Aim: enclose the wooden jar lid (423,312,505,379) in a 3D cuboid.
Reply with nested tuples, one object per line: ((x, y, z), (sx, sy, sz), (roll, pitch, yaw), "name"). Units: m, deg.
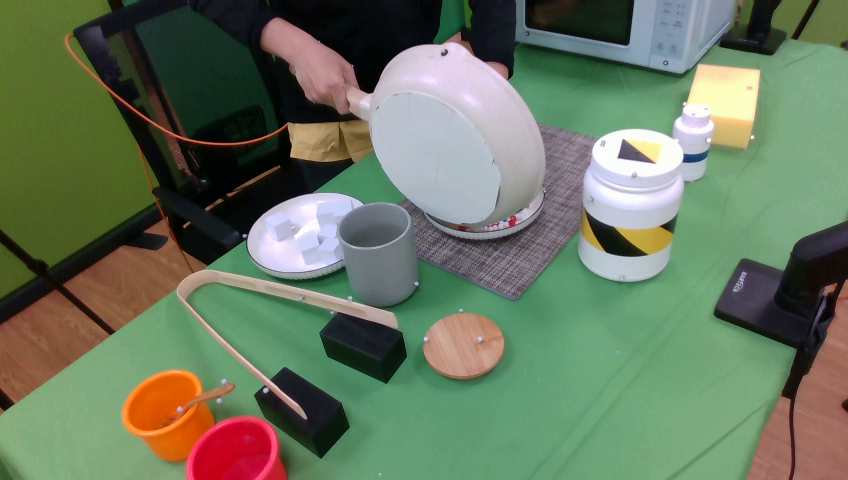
((0.053, 0.142, 0.800), (0.108, 0.021, 0.108), (-5, 39, 4), "wooden jar lid")

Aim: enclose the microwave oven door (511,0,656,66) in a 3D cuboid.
((0.351, -0.540, 1.349), (0.353, 0.245, 0.039), (24, 50, 31), "microwave oven door")

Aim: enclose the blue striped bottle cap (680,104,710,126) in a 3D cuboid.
((0.443, -0.205, 0.989), (0.044, 0.021, 0.044), (-1, 41, 2), "blue striped bottle cap")

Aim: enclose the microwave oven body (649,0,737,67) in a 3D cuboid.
((0.475, -0.602, 1.411), (0.438, 0.261, 0.327), (23, 50, 32), "microwave oven body")

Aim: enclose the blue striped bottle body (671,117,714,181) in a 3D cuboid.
((0.449, -0.165, 1.022), (0.063, 0.121, 0.063), (-5, 41, 4), "blue striped bottle body")

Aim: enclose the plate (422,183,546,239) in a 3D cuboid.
((0.100, -0.067, 1.018), (0.209, 0.038, 0.208), (-4, 41, 4), "plate")

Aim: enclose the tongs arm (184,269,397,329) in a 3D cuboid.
((-0.202, 0.084, 0.848), (0.382, 0.027, 0.051), (11, 44, 35), "tongs arm")

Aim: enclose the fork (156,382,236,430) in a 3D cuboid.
((-0.262, 0.189, 0.690), (0.018, 0.206, 0.028), (49, 43, -7), "fork")

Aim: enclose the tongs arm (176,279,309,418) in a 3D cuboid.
((-0.255, 0.132, 0.800), (0.028, 0.028, 0.384), (-41, 40, -23), "tongs arm")

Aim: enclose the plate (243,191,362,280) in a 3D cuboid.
((-0.187, -0.004, 0.992), (0.207, 0.039, 0.206), (-3, 41, 3), "plate")

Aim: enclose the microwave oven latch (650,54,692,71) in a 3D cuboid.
((0.531, -0.386, 1.301), (0.078, 0.029, 0.030), (25, 51, 32), "microwave oven latch")

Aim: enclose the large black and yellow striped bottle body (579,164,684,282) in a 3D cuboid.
((0.292, -0.046, 0.858), (0.131, 0.185, 0.130), (-4, 41, 4), "large black and yellow striped bottle body")

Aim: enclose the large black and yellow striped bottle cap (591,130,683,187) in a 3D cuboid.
((0.282, -0.111, 0.803), (0.115, 0.019, 0.114), (-3, 41, 3), "large black and yellow striped bottle cap")

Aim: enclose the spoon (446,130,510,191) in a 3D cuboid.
((0.095, -0.137, 1.015), (0.041, 0.022, 0.194), (-7, 26, 45), "spoon")

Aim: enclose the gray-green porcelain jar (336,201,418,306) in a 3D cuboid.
((-0.064, 0.024, 0.872), (0.106, 0.127, 0.105), (-4, 41, 4), "gray-green porcelain jar")

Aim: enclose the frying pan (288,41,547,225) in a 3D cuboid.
((-0.043, -0.183, 0.924), (0.484, 0.308, 0.103), (33, 57, 29), "frying pan")

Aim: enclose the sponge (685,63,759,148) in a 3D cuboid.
((0.569, -0.263, 1.164), (0.117, 0.061, 0.207), (12, 45, 22), "sponge")
